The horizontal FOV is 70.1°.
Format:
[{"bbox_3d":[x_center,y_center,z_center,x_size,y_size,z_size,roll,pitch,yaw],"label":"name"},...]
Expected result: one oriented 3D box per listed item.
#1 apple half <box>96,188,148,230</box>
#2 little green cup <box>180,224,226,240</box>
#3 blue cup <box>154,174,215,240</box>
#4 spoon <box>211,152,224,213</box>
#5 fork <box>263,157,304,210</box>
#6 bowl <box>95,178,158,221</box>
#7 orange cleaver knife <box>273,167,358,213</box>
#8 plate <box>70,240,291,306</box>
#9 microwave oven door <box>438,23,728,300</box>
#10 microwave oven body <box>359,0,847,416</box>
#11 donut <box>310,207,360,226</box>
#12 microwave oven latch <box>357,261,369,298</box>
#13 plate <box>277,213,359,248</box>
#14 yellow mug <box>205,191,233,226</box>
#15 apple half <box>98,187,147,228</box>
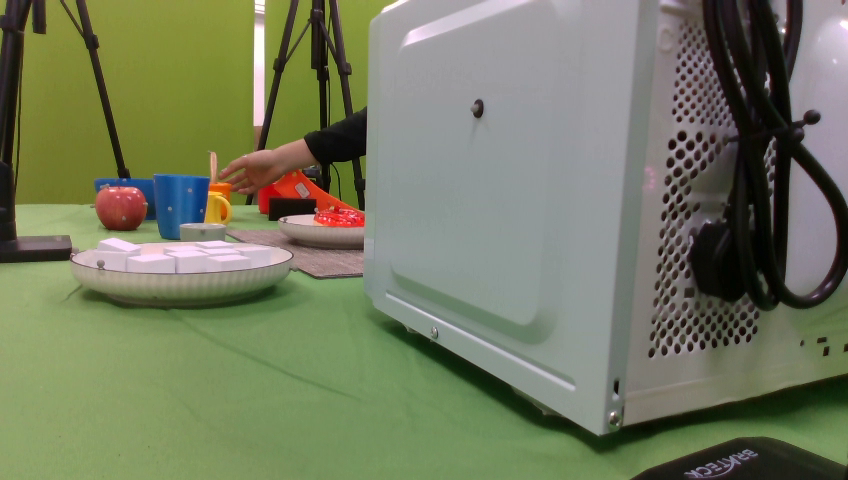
[{"bbox_3d":[-0.517,-0.052,1.036,0.081,0.074,0.053,2,10,-26],"label":"apple half"},{"bbox_3d":[-0.309,-0.001,0.846,0.061,0.038,0.061,2,8,0],"label":"little green cup"},{"bbox_3d":[-0.391,-0.053,0.978,0.093,0.100,0.092,4,6,0],"label":"blue cup"},{"bbox_3d":[-0.458,-0.126,1.321,0.042,0.193,0.021,1,-36,-19],"label":"spoon"},{"bbox_3d":[-0.345,-0.143,1.505,0.028,0.019,0.207,-6,45,29],"label":"fork"},{"bbox_3d":[-0.576,-0.081,1.217,0.151,0.077,0.151,3,8,0],"label":"bowl"},{"bbox_3d":[-0.238,-0.091,1.381,0.212,0.077,0.012,30,1,-19],"label":"orange cleaver knife"},{"bbox_3d":[-0.242,0.031,0.618,0.208,0.039,0.207,2,8,0],"label":"plate"},{"bbox_3d":[0.181,-0.073,0.620,0.358,0.243,0.039,-2,8,-29],"label":"microwave oven door"},{"bbox_3d":[0.211,-0.047,0.474,0.444,0.260,0.324,-1,7,-28],"label":"microwave oven body"},{"bbox_3d":[-0.137,-0.029,0.995,0.099,0.048,0.099,4,9,0],"label":"donut"},{"bbox_3d":[-0.019,0.034,0.530,0.079,0.029,0.030,0,7,-25],"label":"microwave oven latch"},{"bbox_3d":[-0.135,-0.017,0.992,0.209,0.038,0.209,2,8,0],"label":"plate"},{"bbox_3d":[-0.415,-0.057,1.131,0.130,0.064,0.100,6,7,16],"label":"yellow mug"},{"bbox_3d":[-0.534,-0.059,1.072,0.082,0.081,0.032,-1,9,-25],"label":"apple half"}]
